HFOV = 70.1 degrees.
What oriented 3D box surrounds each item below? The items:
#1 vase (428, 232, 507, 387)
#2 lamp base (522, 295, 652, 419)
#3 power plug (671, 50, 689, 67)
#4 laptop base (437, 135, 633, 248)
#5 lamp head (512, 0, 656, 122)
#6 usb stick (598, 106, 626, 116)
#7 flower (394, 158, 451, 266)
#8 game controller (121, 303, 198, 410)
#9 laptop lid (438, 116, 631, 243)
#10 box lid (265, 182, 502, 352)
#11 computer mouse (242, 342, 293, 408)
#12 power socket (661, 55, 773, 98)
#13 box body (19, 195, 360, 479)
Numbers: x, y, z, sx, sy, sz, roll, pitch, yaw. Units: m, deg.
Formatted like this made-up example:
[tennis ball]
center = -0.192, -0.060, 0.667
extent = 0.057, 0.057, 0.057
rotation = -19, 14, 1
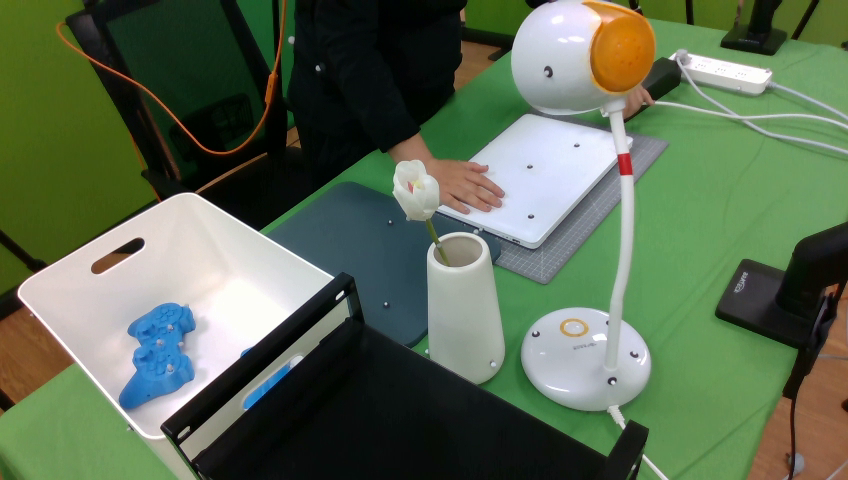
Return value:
[vase]
center = 0.051, 0.087, 0.728
extent = 0.098, 0.201, 0.097
rotation = -3, 40, 3
[lamp base]
center = 0.201, 0.095, 0.709
extent = 0.161, 0.181, 0.178
rotation = -16, 43, -10
[power plug]
center = 0.541, -0.379, 1.302
extent = 0.073, 0.053, 0.035
rotation = -30, 46, -22
[laptop base]
center = 0.194, -0.117, 1.087
extent = 0.233, 0.023, 0.355
rotation = 20, 48, 35
[lamp head]
center = 0.156, -0.168, 0.563
extent = 0.113, 0.113, 0.122
rotation = -18, 23, -12
[usb stick]
center = 0.347, -0.248, 1.130
extent = 0.059, 0.021, 0.027
rotation = -8, 71, -28
[flower]
center = 0.029, 0.035, 0.664
extent = 0.043, 0.364, 0.038
rotation = 36, 73, 30
[game controller]
center = -0.363, 0.149, 0.828
extent = 0.097, 0.052, 0.154
rotation = -13, 41, -9
[laptop lid]
center = 0.190, -0.126, 1.081
extent = 0.239, 0.013, 0.358
rotation = 23, 49, 35
[box lid]
center = -0.087, 0.023, 0.971
extent = 0.368, 0.015, 0.264
rotation = 23, 49, 31
[computer mouse]
center = -0.200, 0.178, 0.776
extent = 0.063, 0.041, 0.116
rotation = -11, 43, -8
[power socket]
center = 0.620, -0.353, 1.289
extent = 0.225, 0.033, 0.072
rotation = 26, 51, 33
[box body]
center = -0.287, 0.118, 0.772
extent = 0.361, 0.161, 0.255
rotation = 26, 50, 33
